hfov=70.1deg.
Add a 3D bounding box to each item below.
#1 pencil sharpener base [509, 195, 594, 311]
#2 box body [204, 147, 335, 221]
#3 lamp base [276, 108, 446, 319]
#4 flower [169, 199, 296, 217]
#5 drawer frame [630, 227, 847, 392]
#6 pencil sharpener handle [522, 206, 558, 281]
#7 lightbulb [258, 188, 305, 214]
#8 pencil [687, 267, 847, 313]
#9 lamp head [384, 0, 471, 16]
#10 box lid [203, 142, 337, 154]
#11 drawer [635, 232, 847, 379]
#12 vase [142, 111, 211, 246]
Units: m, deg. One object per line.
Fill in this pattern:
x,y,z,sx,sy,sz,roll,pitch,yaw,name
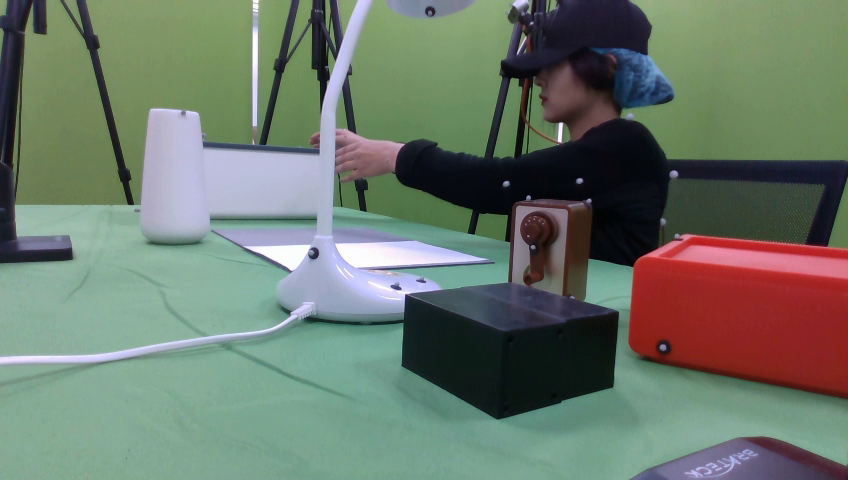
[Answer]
0.126,0.011,0.601,0.061,0.107,0.077,7,9,30,pencil sharpener base
-0.411,-0.135,1.386,0.366,0.160,0.253,-2,9,-29,box body
-0.061,-0.027,0.556,0.160,0.180,0.180,4,10,20,lamp base
-0.423,-0.069,1.398,0.044,0.038,0.363,2,2,31,flower
0.292,0.043,0.484,0.201,0.082,0.214,7,9,29,drawer frame
0.101,0.003,0.555,0.036,0.067,0.031,0,5,31,pencil sharpener handle
-0.325,-0.082,1.382,0.108,0.059,0.059,-15,9,-6,lightbulb
0.308,0.044,0.515,0.194,0.012,0.012,13,5,-12,pencil
-0.001,-0.301,0.599,0.112,0.112,0.123,4,-30,14,lamp head
-0.405,-0.209,1.377,0.373,0.015,0.262,-1,9,-29,box lid
0.292,0.045,0.488,0.193,0.073,0.213,7,9,30,drawer
-0.378,-0.093,0.920,0.098,0.200,0.098,2,9,0,vase
